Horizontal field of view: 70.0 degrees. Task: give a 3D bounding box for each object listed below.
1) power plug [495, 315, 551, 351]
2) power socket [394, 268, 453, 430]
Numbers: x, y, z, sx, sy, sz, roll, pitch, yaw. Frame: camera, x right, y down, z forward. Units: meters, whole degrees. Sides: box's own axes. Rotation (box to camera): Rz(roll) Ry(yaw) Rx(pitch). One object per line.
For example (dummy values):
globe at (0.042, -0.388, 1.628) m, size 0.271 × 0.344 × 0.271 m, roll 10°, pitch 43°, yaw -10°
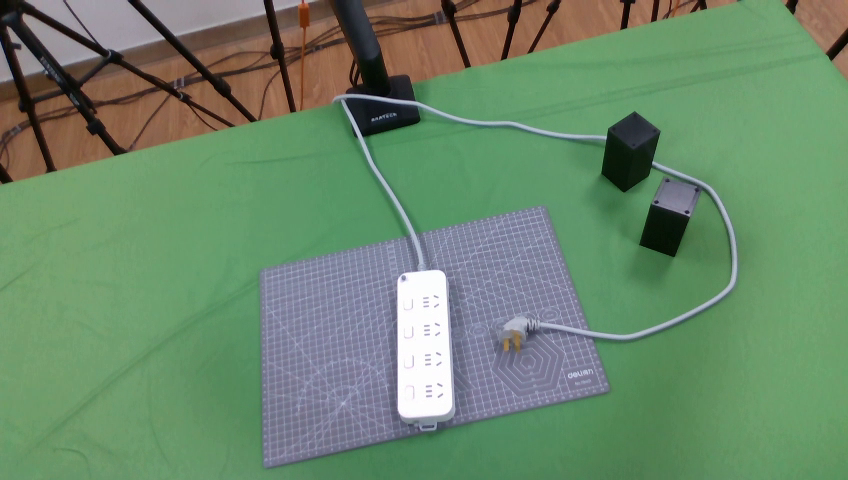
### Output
power plug at (0.128, 0.120, 0.794) m, size 0.072 × 0.035 × 0.052 m, roll -10°, pitch 39°, yaw 17°
power socket at (-0.003, 0.137, 0.812) m, size 0.072 × 0.033 × 0.224 m, roll -6°, pitch 57°, yaw 5°
